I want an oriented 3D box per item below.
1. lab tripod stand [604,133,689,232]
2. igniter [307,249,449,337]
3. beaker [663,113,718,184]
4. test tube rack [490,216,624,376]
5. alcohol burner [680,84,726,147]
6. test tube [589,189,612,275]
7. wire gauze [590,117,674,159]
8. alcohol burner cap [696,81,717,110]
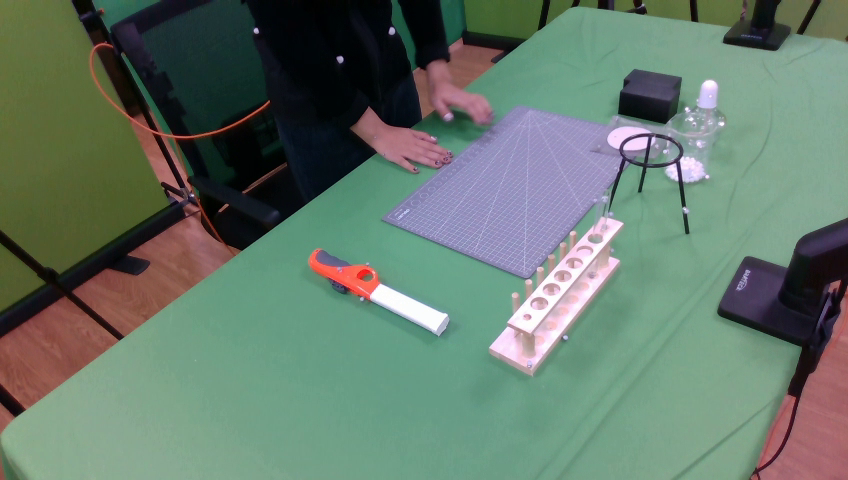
[{"bbox_3d":[0.347,-0.086,0.932,0.148,0.132,0.147,-4,40,4],"label":"lab tripod stand"},{"bbox_3d":[-0.079,0.073,0.905,0.274,0.025,0.057,23,61,32],"label":"igniter"},{"bbox_3d":[0.442,-0.151,1.018,0.084,0.101,0.074,-1,40,11],"label":"beaker"},{"bbox_3d":[0.184,0.064,0.822,0.066,0.085,0.243,24,50,33],"label":"test tube rack"},{"bbox_3d":[0.503,-0.228,1.085,0.078,0.119,0.077,-4,42,4],"label":"alcohol burner"},{"bbox_3d":[0.238,-0.007,0.818,0.017,0.151,0.017,-3,43,4],"label":"test tube"},{"bbox_3d":[0.393,-0.192,1.139,0.120,0.011,0.125,19,47,28],"label":"wire gauze"},{"bbox_3d":[0.498,-0.256,1.062,0.034,0.048,0.033,-6,33,4],"label":"alcohol burner cap"}]
